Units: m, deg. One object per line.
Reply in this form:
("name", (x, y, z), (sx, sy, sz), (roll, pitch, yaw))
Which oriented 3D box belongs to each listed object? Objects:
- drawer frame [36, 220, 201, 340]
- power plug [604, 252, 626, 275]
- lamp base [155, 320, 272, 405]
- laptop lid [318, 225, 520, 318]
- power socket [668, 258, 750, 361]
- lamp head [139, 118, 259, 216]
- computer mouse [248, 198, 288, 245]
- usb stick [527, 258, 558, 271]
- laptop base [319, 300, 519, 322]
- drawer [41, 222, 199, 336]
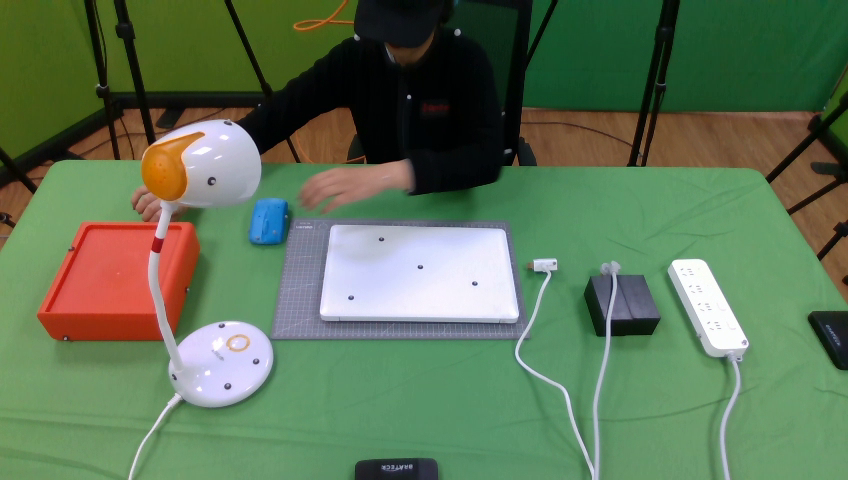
("drawer frame", (-0.518, 0.065, 1.055), (0.202, 0.083, 0.212), (0, 47, -5))
("power plug", (0.366, 0.040, 1.130), (0.035, 0.072, 0.052), (40, 55, -10))
("lamp base", (-0.330, 0.149, 0.918), (0.160, 0.181, 0.179), (26, 52, 20))
("laptop lid", (-0.009, 0.053, 1.131), (0.357, 0.013, 0.240), (2, 43, -2))
("power socket", (0.517, 0.118, 1.109), (0.072, 0.033, 0.225), (-2, 46, -4))
("lamp head", (-0.281, -0.086, 0.734), (0.112, 0.113, 0.123), (21, 25, 16))
("computer mouse", (-0.309, -0.041, 1.205), (0.063, 0.041, 0.116), (4, 50, -4))
("usb stick", (0.226, 0.046, 1.158), (0.059, 0.021, 0.027), (-2, 8, 10))
("laptop base", (-0.009, 0.062, 1.137), (0.354, 0.023, 0.234), (1, 42, -3))
("drawer", (-0.519, 0.064, 1.057), (0.195, 0.073, 0.210), (1, 46, -4))
